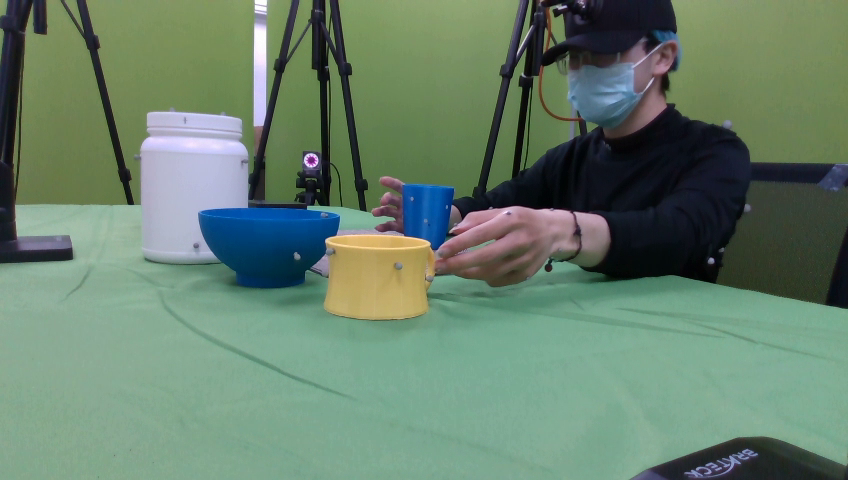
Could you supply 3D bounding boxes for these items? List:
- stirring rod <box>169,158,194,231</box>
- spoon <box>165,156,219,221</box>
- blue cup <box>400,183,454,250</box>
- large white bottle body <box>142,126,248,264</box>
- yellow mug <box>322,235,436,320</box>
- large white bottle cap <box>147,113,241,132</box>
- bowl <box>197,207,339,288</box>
[{"bbox_3d":[-0.424,-0.082,1.060,0.014,0.006,0.175,2,50,-10],"label":"stirring rod"},{"bbox_3d":[-0.451,-0.104,1.193,0.041,0.022,0.193,5,51,17],"label":"spoon"},{"bbox_3d":[0.002,-0.038,0.965,0.093,0.100,0.092,3,7,0],"label":"blue cup"},{"bbox_3d":[-0.300,-0.068,0.797,0.131,0.184,0.130,2,7,0],"label":"large white bottle body"},{"bbox_3d":[-0.034,0.031,0.581,0.099,0.064,0.131,8,8,42],"label":"yellow mug"},{"bbox_3d":[-0.297,-0.151,0.786,0.115,0.018,0.115,2,7,0],"label":"large white bottle cap"},{"bbox_3d":[-0.171,0.008,0.671,0.151,0.077,0.151,2,7,0],"label":"bowl"}]
